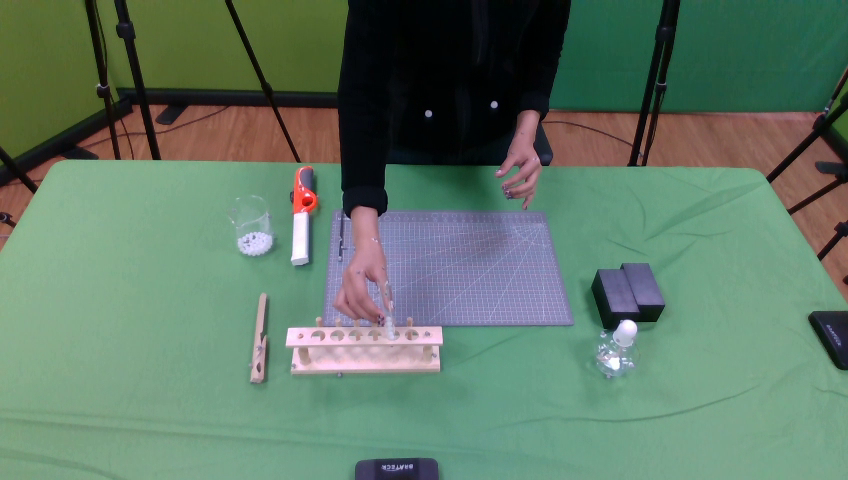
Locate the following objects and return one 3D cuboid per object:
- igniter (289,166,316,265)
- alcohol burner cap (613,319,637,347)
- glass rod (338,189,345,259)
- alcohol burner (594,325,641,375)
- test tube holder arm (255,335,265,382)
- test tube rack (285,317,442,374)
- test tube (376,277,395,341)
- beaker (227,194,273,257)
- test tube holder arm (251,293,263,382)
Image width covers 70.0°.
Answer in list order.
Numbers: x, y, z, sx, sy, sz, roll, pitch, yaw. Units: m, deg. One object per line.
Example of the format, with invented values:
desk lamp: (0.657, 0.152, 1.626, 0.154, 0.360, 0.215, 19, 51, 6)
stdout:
igniter: (-0.248, -0.058, 1.233, 0.057, 0.025, 0.274, -9, 47, 1)
alcohol burner cap: (0.323, 0.146, 0.966, 0.034, 0.048, 0.033, -1, 52, 2)
glass rod: (-0.166, -0.037, 1.227, 0.008, 0.008, 0.198, -1, 47, -4)
alcohol burner: (0.322, 0.170, 0.994, 0.078, 0.119, 0.077, 3, 48, -3)
test tube holder arm: (-0.270, 0.193, 0.997, 0.010, 0.015, 0.087, 25, 35, -32)
test tube rack: (-0.095, 0.166, 0.988, 0.242, 0.085, 0.066, 0, 46, -4)
test tube: (-0.057, 0.110, 0.910, 0.017, 0.151, 0.017, -2, 44, 2)
beaker: (-0.326, -0.022, 1.142, 0.074, 0.101, 0.083, 10, 47, 6)
test tube holder arm: (-0.282, 0.160, 1.025, 0.013, 0.015, 0.177, 24, 36, -33)
